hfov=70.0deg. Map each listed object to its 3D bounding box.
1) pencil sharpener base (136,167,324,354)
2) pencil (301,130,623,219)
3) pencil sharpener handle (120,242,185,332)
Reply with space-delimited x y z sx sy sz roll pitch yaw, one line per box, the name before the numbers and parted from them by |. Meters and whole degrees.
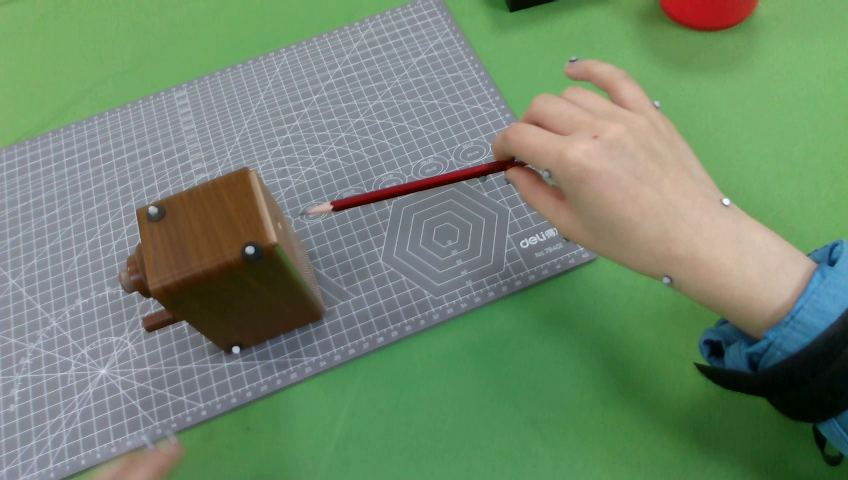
pencil sharpener base | -0.116 0.018 0.373 0.077 0.108 0.061 -22 61 -5
pencil | 0.023 -0.037 0.355 0.194 0.012 0.012 -14 60 -3
pencil sharpener handle | -0.164 0.032 0.357 0.030 0.068 0.035 -22 55 -5
